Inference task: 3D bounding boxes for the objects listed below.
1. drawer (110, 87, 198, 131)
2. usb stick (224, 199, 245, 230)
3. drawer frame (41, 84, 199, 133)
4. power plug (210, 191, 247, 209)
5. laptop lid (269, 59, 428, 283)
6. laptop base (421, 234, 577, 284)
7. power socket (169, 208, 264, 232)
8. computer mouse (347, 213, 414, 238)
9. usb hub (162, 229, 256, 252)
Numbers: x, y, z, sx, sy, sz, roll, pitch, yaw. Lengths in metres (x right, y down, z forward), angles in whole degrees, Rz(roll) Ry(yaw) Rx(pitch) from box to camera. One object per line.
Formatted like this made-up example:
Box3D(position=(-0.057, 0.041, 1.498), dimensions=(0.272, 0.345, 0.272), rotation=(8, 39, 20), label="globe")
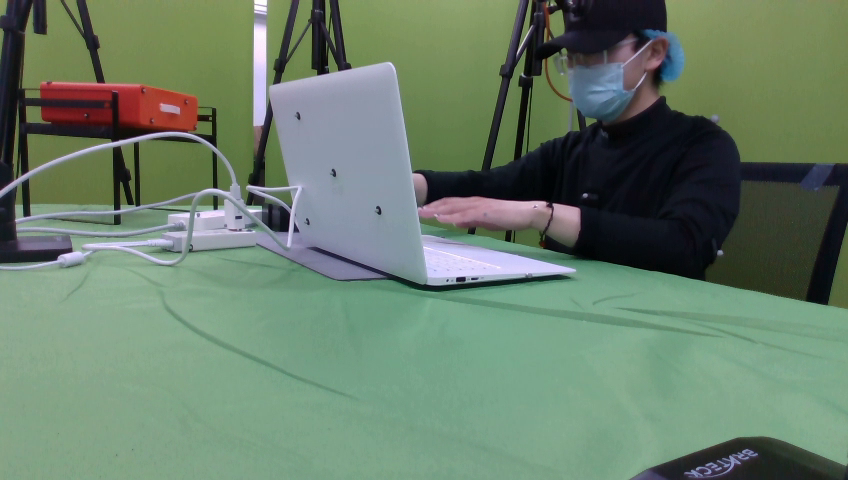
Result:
Box3D(position=(-0.602, -0.263, 1.225), dimensions=(0.211, 0.073, 0.195), rotation=(3, 8, 10), label="drawer")
Box3D(position=(-0.289, -0.033, 0.925), dimensions=(0.027, 0.059, 0.021), rotation=(11, 13, 36), label="usb stick")
Box3D(position=(-0.604, -0.264, 1.225), dimensions=(0.213, 0.082, 0.202), rotation=(3, 8, 8), label="drawer frame")
Box3D(position=(-0.386, -0.071, 1.204), dimensions=(0.072, 0.052, 0.035), rotation=(8, 11, 25), label="power plug")
Box3D(position=(-0.110, -0.087, 0.752), dimensions=(0.013, 0.241, 0.355), rotation=(-18, 19, -30), label="laptop lid")
Box3D(position=(0.007, 0.022, 0.850), dimensions=(0.237, 0.023, 0.352), rotation=(1, 7, -34), label="laptop base")
Box3D(position=(-0.381, -0.038, 1.128), dimensions=(0.072, 0.032, 0.227), rotation=(4, 8, 17), label="power socket")
Box3D(position=(-0.079, -0.025, 1.080), dimensions=(0.117, 0.041, 0.062), rotation=(-6, 12, -18), label="computer mouse")
Box3D(position=(-0.315, 0.000, 0.893), dimensions=(0.049, 0.025, 0.126), rotation=(9, 10, 41), label="usb hub")
